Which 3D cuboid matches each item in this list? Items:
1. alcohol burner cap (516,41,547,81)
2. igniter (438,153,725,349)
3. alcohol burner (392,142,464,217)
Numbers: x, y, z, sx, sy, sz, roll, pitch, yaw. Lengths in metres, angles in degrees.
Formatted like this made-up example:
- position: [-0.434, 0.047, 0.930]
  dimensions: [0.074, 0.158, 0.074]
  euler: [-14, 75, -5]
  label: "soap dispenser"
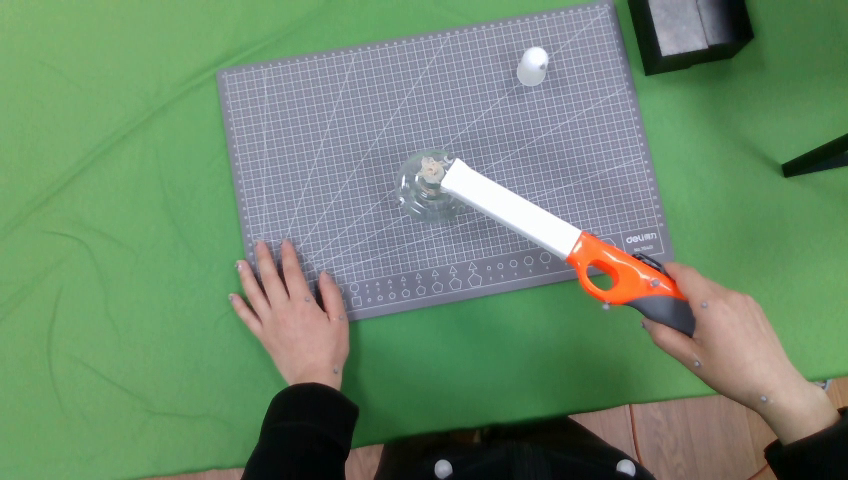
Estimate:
- position: [0.117, -0.195, 0.650]
  dimensions: [0.034, 0.048, 0.034]
  euler: [0, 84, 2]
  label: "alcohol burner cap"
- position: [0.136, 0.007, 0.524]
  dimensions: [0.276, 0.025, 0.057]
  euler: [31, 73, 6]
  label: "igniter"
- position: [0.006, -0.063, 0.600]
  dimensions: [0.078, 0.119, 0.077]
  euler: [0, 84, 1]
  label: "alcohol burner"
